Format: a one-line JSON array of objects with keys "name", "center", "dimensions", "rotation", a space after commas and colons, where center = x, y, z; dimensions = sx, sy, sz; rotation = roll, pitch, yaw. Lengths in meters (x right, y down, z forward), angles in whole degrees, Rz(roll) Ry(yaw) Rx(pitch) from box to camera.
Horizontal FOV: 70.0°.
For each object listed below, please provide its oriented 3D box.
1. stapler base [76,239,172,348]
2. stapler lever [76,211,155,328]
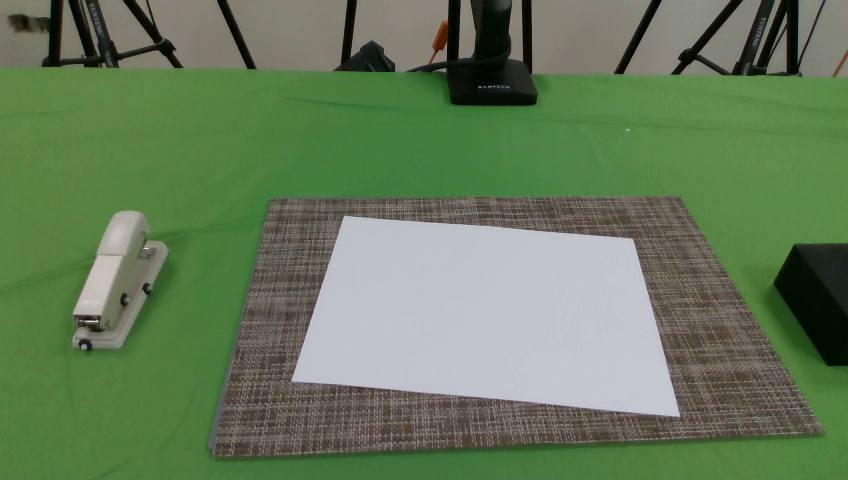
[{"name": "stapler base", "center": [-0.263, 0.038, 0.535], "dimensions": [0.041, 0.024, 0.129], "rotation": [1, 42, 0]}, {"name": "stapler lever", "center": [-0.262, 0.021, 0.518], "dimensions": [0.027, 0.040, 0.117], "rotation": [1, 42, 1]}]
